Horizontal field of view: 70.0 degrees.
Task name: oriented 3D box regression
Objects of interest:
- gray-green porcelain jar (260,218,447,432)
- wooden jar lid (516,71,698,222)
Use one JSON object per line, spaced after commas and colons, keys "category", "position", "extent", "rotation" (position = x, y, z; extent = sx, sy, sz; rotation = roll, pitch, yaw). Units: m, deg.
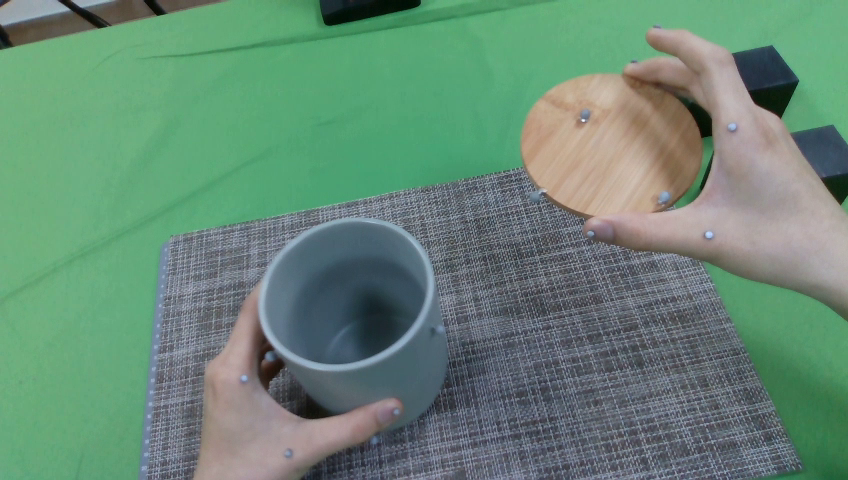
{"category": "gray-green porcelain jar", "position": [-0.039, 0.064, 0.407], "extent": [0.106, 0.128, 0.105], "rotation": [-3, 55, 5]}
{"category": "wooden jar lid", "position": [0.111, -0.057, 0.375], "extent": [0.108, 0.021, 0.107], "rotation": [-2, 66, 5]}
